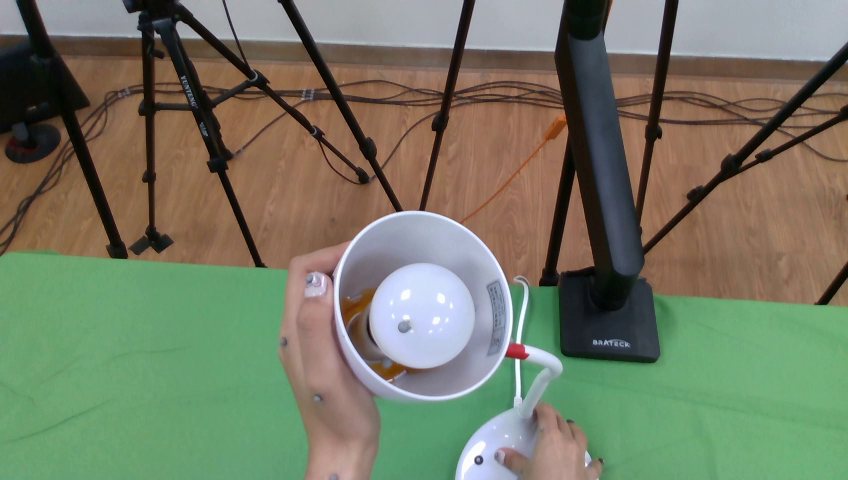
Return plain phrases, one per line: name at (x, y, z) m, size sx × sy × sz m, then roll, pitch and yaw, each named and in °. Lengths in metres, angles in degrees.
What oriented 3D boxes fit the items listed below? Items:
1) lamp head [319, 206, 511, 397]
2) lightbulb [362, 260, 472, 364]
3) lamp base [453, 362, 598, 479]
lamp head at (-0.015, 0.051, 0.393) m, size 0.113 × 0.123 × 0.111 m, roll 7°, pitch 67°, yaw -16°
lightbulb at (-0.012, 0.048, 0.369) m, size 0.060 × 0.107 × 0.059 m, roll 8°, pitch 70°, yaw -22°
lamp base at (0.108, 0.212, 0.617) m, size 0.161 × 0.182 × 0.177 m, roll -8°, pitch 54°, yaw -3°
